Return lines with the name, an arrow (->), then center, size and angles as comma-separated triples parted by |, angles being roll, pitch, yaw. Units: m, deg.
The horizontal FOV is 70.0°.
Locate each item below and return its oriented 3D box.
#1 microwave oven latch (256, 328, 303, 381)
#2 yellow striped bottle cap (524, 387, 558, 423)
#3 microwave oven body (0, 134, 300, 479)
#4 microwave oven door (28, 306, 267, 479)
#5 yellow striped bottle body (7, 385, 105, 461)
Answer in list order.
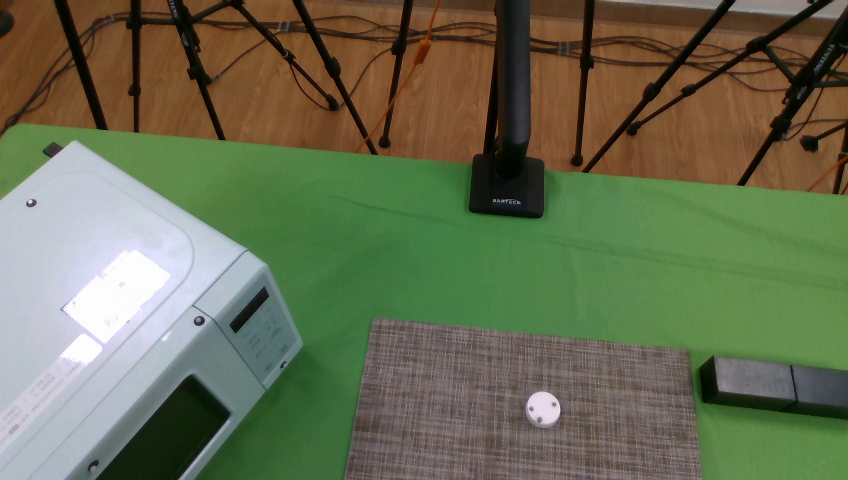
microwave oven latch -> -0.196, 0.148, 0.812 | 0.030, 0.030, 0.079 | 32, 65, 16
yellow striped bottle cap -> 0.156, 0.219, 0.805 | 0.044, 0.019, 0.044 | 0, 59, 1
microwave oven body -> -0.418, 0.156, 0.694 | 0.324, 0.262, 0.440 | 30, 65, 15
microwave oven door -> -0.320, 0.253, 0.633 | 0.039, 0.246, 0.354 | 30, 64, 17
yellow striped bottle body -> -0.412, 0.203, 0.676 | 0.063, 0.121, 0.062 | 2, 59, -2
